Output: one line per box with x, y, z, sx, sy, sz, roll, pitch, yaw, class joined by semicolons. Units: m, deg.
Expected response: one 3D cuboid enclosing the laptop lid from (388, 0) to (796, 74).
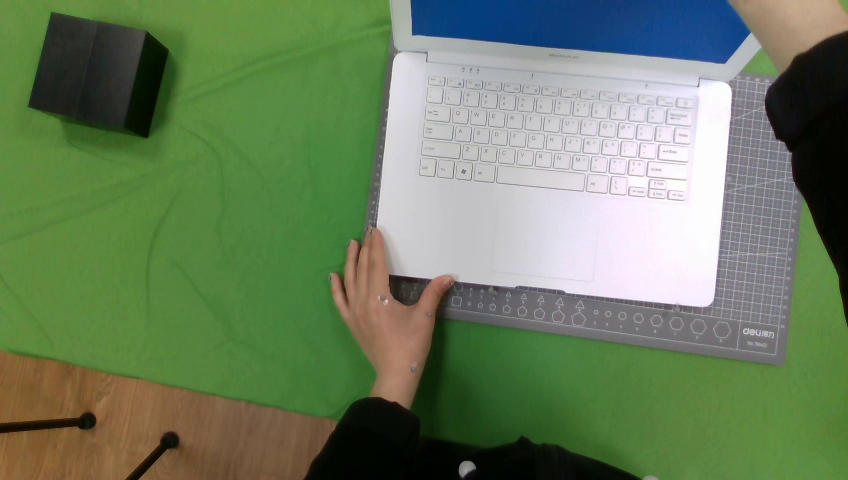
0.141;-0.221;0.520;0.356;0.243;0.013;5;74;3;laptop lid

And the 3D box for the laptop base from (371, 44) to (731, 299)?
0.130;-0.072;0.631;0.354;0.023;0.235;6;91;1;laptop base
